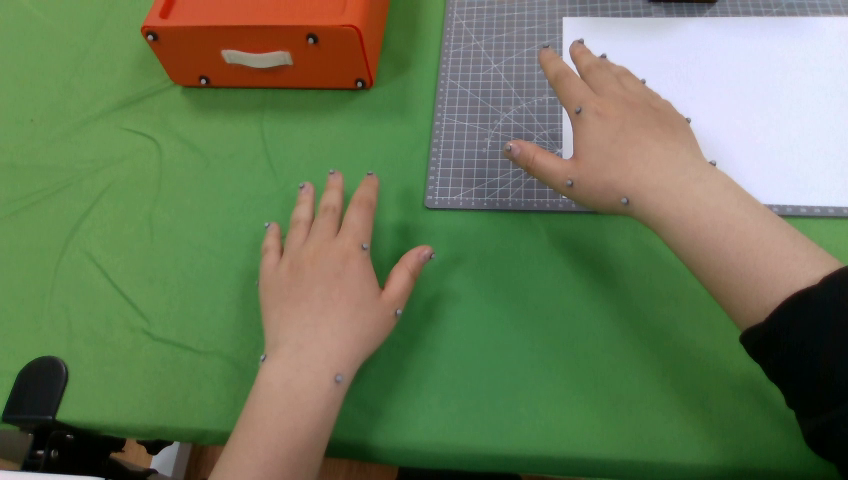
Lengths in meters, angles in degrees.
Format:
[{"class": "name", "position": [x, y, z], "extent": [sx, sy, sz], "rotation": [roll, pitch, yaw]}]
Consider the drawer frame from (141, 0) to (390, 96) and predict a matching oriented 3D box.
[{"class": "drawer frame", "position": [-0.138, -0.246, 0.596], "extent": [0.201, 0.083, 0.212], "rotation": [1, 59, 8]}]

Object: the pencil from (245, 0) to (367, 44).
[{"class": "pencil", "position": [-0.133, -0.232, 0.623], "extent": [0.192, 0.012, 0.012], "rotation": [28, 66, 27]}]

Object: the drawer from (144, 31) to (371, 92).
[{"class": "drawer", "position": [-0.137, -0.243, 0.596], "extent": [0.194, 0.074, 0.210], "rotation": [2, 59, 9]}]

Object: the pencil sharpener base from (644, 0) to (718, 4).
[{"class": "pencil sharpener base", "position": [0.241, -0.277, 0.552], "extent": [0.076, 0.108, 0.061], "rotation": [3, 60, 10]}]
